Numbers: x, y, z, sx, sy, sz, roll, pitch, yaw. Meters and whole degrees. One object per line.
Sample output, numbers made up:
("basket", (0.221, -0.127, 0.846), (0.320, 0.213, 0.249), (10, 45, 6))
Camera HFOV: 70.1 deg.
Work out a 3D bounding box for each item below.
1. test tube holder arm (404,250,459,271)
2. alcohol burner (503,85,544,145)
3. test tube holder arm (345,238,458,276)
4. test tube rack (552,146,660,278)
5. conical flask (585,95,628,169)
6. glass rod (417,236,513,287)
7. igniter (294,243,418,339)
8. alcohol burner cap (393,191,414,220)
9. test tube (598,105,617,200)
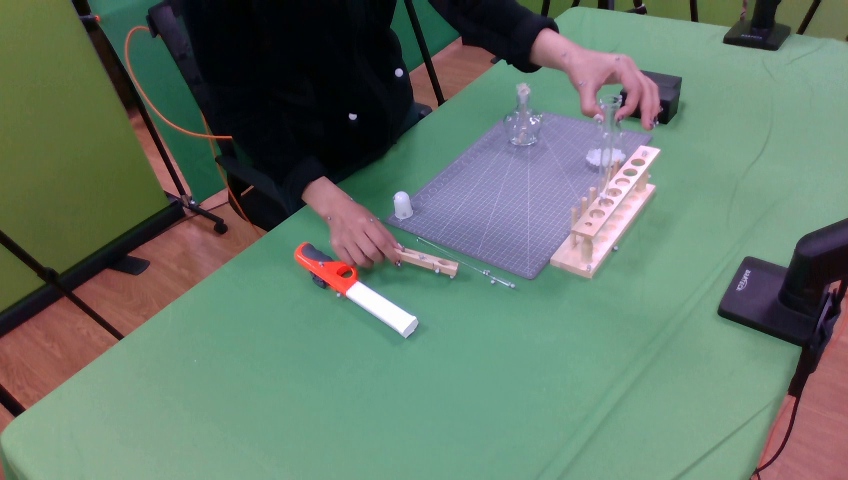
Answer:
("test tube holder arm", (0.009, 0.033, 0.918), (0.087, 0.015, 0.010), (14, 32, 10))
("alcohol burner", (0.191, -0.243, 1.160), (0.078, 0.119, 0.077), (-4, 39, 4))
("test tube holder arm", (-0.036, 0.025, 0.920), (0.178, 0.015, 0.013), (13, 32, 9))
("test tube rack", (0.286, -0.053, 0.943), (0.066, 0.085, 0.243), (21, 49, 32))
("conical flask", (0.324, -0.192, 1.066), (0.075, 0.122, 0.075), (-6, 40, 5))
("glass rod", (0.059, 0.032, 0.944), (0.198, 0.008, 0.008), (27, 52, 38))
("igniter", (-0.114, 0.070, 0.919), (0.274, 0.025, 0.057), (30, 64, 37))
("alcohol burner cap", (-0.037, -0.062, 1.044), (0.034, 0.048, 0.033), (-6, 41, 5))
("test tube", (0.251, -0.116, 0.828), (0.017, 0.151, 0.017), (-5, 42, 5))
